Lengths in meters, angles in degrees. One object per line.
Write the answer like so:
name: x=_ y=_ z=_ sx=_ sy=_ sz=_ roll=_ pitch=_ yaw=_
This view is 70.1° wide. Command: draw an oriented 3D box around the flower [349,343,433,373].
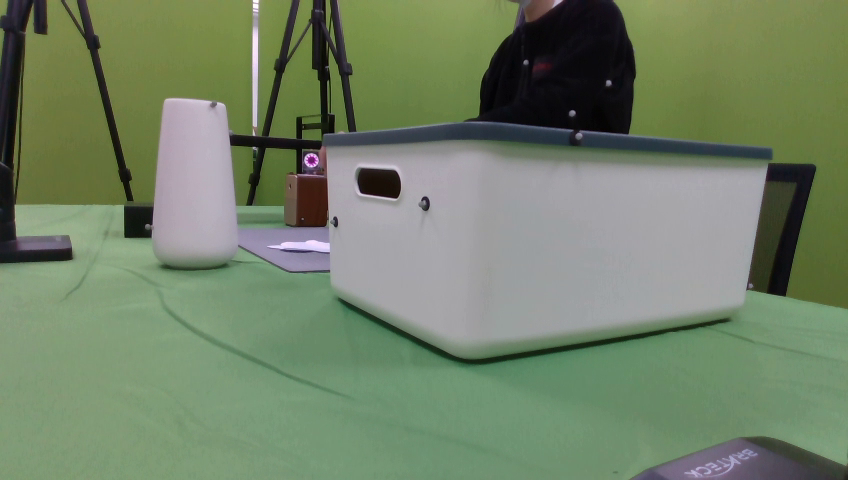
flower: x=0.103 y=0.072 z=0.592 sx=0.362 sy=0.044 sz=0.038 roll=-16 pitch=44 yaw=-9

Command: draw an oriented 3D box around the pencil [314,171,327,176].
pencil: x=-0.133 y=-0.104 z=0.958 sx=0.012 sy=0.012 sz=0.193 roll=-3 pitch=8 yaw=-36

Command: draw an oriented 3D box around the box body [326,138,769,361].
box body: x=0.112 y=-0.010 z=0.583 sx=0.366 sy=0.160 sz=0.253 roll=-2 pitch=9 yaw=-33

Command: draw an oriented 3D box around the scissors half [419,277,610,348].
scissors half: x=0.076 y=0.067 z=0.533 sx=0.174 sy=0.040 sz=0.013 roll=14 pitch=50 yaw=24

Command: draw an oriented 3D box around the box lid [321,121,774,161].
box lid: x=0.114 y=-0.085 z=0.573 sx=0.373 sy=0.015 sz=0.262 roll=-2 pitch=7 yaw=-33

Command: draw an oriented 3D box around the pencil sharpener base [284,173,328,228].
pencil sharpener base: x=-0.239 y=-0.081 z=1.231 sx=0.077 sy=0.107 sz=0.061 roll=-2 pitch=8 yaw=-36

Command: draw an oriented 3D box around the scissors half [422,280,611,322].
scissors half: x=0.073 y=0.057 z=0.524 sx=0.174 sy=0.040 sz=0.013 roll=5 pitch=39 yaw=30

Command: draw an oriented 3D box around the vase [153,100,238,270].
vase: x=-0.278 y=-0.066 z=0.736 sx=0.098 sy=0.200 sz=0.098 roll=2 pitch=9 yaw=0
